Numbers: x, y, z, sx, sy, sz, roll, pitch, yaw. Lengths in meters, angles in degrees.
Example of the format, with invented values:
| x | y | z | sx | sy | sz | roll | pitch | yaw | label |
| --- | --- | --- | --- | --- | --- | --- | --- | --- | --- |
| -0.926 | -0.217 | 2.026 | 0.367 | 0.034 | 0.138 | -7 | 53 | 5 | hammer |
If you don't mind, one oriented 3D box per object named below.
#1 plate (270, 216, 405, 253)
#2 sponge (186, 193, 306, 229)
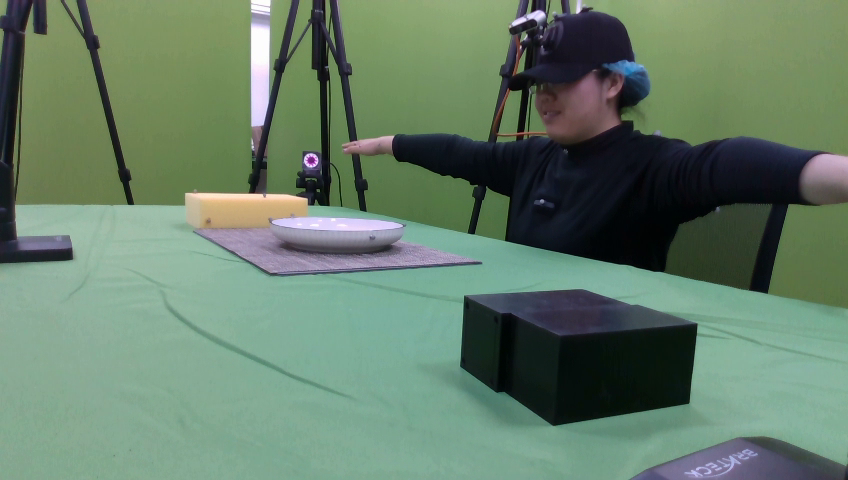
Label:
| x | y | z | sx | sy | sz | roll | pitch | yaw | label |
| --- | --- | --- | --- | --- | --- | --- | --- | --- | --- |
| -0.134 | -0.010 | 0.946 | 0.208 | 0.039 | 0.207 | 3 | 7 | 0 | plate |
| -0.350 | -0.059 | 1.194 | 0.208 | 0.061 | 0.117 | -3 | 9 | -34 | sponge |
